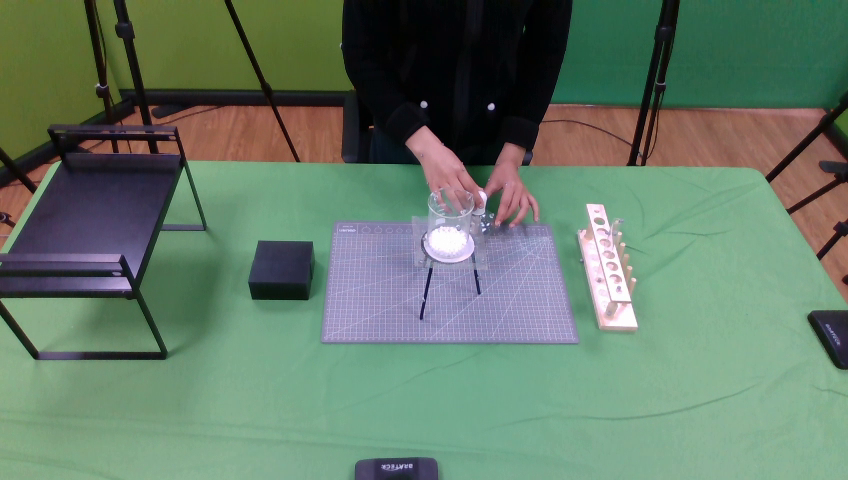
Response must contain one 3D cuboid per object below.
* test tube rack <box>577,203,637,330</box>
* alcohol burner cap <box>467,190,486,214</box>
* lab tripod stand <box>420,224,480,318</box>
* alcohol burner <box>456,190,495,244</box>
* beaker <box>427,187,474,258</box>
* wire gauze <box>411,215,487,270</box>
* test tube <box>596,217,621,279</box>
[{"bbox_3d":[0.348,0.045,1.139,0.067,0.085,0.241,2,46,-2],"label":"test tube rack"},{"bbox_3d":[0.103,-0.076,1.162,0.034,0.048,0.033,6,49,-7],"label":"alcohol burner cap"},{"bbox_3d":[0.034,0.051,1.071,0.148,0.132,0.147,3,48,-3],"label":"lab tripod stand"},{"bbox_3d":[0.102,-0.050,1.187,0.078,0.120,0.077,1,46,0],"label":"alcohol burner"},{"bbox_3d":[0.043,-0.027,0.989,0.084,0.101,0.073,-27,53,-26],"label":"beaker"},{"bbox_3d":[0.041,0.003,1.026,0.125,0.011,0.120,0,46,-1],"label":"wire gauze"},{"bbox_3d":[0.331,0.018,1.094,0.017,0.151,0.017,0,45,0],"label":"test tube"}]
